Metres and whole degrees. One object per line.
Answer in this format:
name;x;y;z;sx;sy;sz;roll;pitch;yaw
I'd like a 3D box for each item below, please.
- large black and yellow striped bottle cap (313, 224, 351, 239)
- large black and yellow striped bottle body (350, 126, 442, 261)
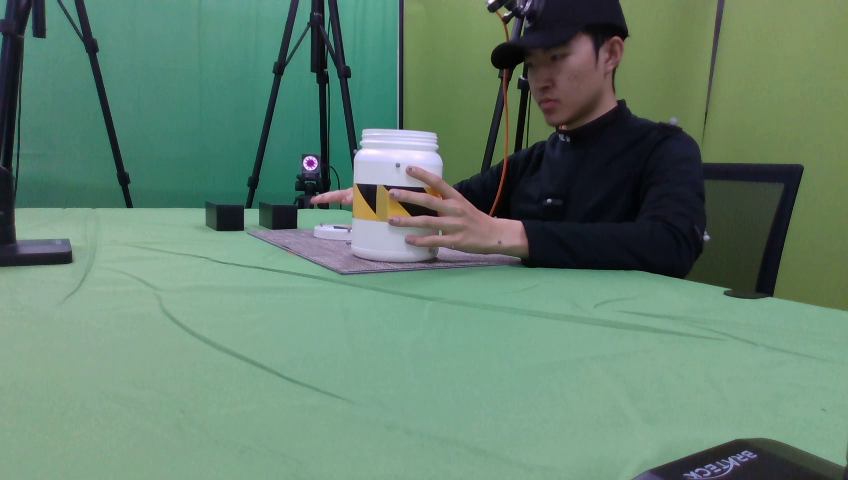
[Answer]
large black and yellow striped bottle cap;-0.145;-0.017;1.109;0.115;0.019;0.115;3;7;0
large black and yellow striped bottle body;-0.040;-0.069;0.883;0.131;0.184;0.130;2;7;0
